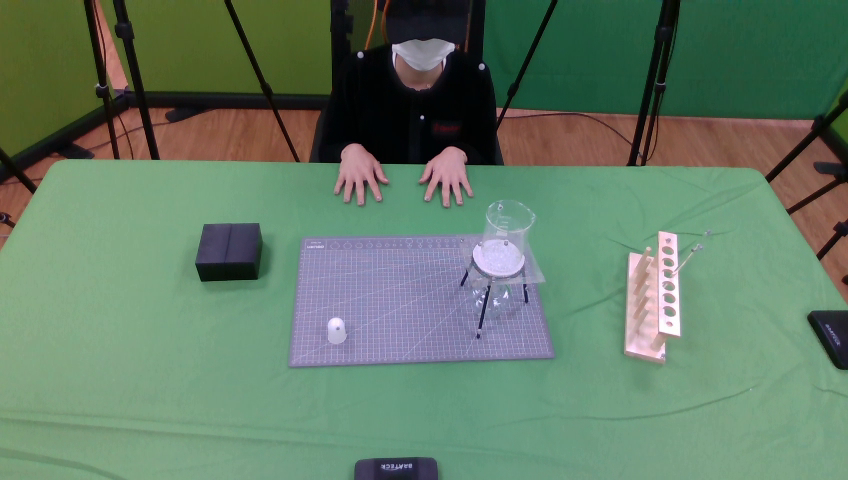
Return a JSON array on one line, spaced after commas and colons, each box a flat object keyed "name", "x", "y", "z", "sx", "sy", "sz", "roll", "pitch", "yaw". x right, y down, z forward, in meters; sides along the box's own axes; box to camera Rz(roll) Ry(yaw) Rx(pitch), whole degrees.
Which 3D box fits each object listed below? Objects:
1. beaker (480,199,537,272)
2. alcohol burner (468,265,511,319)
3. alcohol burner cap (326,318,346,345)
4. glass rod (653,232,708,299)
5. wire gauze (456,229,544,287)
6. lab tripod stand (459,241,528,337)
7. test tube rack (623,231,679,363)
[{"name": "beaker", "x": 0.132, "y": -0.004, "z": 0.973, "sx": 0.084, "sy": 0.101, "sz": 0.073, "roll": -4, "pitch": 47, "yaw": -9}, {"name": "alcohol burner", "x": 0.117, "y": 0.083, "z": 1.060, "sx": 0.078, "sy": 0.119, "sz": 0.077, "roll": 3, "pitch": 48, "yaw": -3}, {"name": "alcohol burner cap", "x": -0.149, "y": 0.151, "z": 1.023, "sx": 0.034, "sy": 0.048, "sz": 0.033, "roll": 2, "pitch": 46, "yaw": -2}, {"name": "glass rod", "x": 0.441, "y": 0.049, "z": 1.050, "sx": 0.008, "sy": 0.200, "sz": 0.008, "roll": 4, "pitch": 52, "yaw": -5}, {"name": "wire gauze", "x": 0.125, "y": 0.030, "z": 1.008, "sx": 0.125, "sy": 0.011, "sz": 0.120, "roll": -3, "pitch": 48, "yaw": -11}, {"name": "lab tripod stand", "x": 0.122, "y": 0.075, "z": 1.054, "sx": 0.148, "sy": 0.132, "sz": 0.147, "roll": 3, "pitch": 44, "yaw": -3}, {"name": "test tube rack", "x": 0.410, "y": 0.094, "z": 1.096, "sx": 0.066, "sy": 0.085, "sz": 0.241, "roll": 13, "pitch": 46, "yaw": 9}]
